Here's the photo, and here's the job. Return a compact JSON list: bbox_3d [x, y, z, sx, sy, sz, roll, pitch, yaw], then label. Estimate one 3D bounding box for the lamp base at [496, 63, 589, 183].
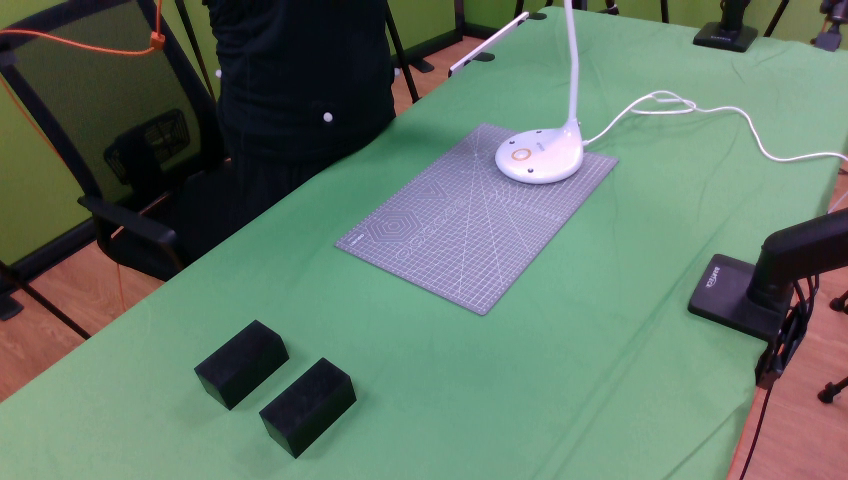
[{"bbox_3d":[0.216,-0.217,1.067,0.180,0.181,0.159,-19,42,-18],"label":"lamp base"}]
